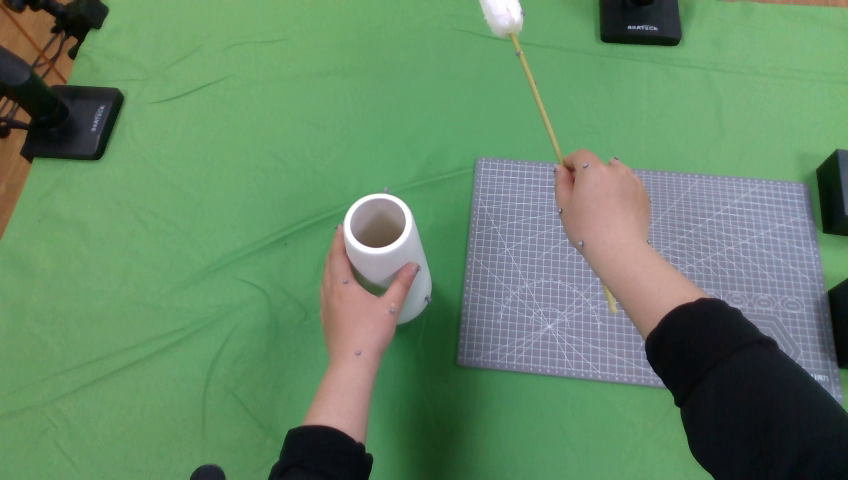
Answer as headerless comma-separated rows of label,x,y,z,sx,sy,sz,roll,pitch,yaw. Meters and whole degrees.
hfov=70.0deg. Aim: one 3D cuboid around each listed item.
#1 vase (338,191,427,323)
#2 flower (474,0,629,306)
vase,-0.045,0.023,0.680,0.098,0.201,0.097,0,65,0
flower,0.125,-0.104,0.594,0.038,0.044,0.360,-27,77,31
